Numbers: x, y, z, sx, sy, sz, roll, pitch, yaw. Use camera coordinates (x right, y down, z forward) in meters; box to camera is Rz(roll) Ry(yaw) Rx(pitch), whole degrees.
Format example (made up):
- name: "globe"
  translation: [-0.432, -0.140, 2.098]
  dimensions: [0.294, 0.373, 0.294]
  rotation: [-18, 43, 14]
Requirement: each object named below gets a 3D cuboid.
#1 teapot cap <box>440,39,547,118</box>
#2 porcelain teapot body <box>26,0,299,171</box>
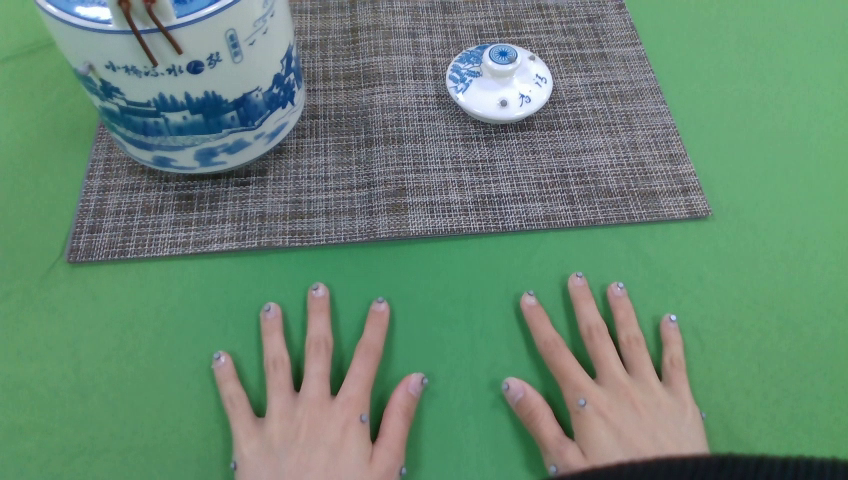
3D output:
- name: "teapot cap"
  translation: [0.055, -0.133, 0.477]
  dimensions: [0.085, 0.044, 0.084]
  rotation: [-1, 58, 1]
- name: "porcelain teapot body"
  translation: [-0.170, -0.181, 0.391]
  dimensions: [0.145, 0.227, 0.203]
  rotation: [-10, 59, -8]
